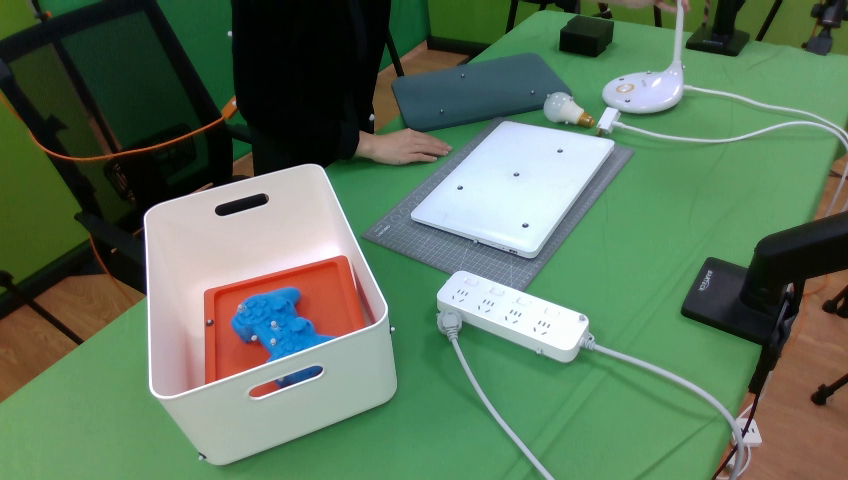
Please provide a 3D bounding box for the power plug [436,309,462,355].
[{"bbox_3d":[0.032,0.126,0.810,0.035,0.053,0.072,3,59,7],"label":"power plug"}]

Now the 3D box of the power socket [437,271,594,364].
[{"bbox_3d":[0.118,0.102,0.830,0.225,0.033,0.072,20,48,28],"label":"power socket"}]

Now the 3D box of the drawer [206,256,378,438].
[{"bbox_3d":[-0.177,0.130,0.787,0.195,0.073,0.210,-14,39,-9],"label":"drawer"}]

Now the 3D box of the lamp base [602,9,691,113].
[{"bbox_3d":[0.456,-0.370,1.217,0.179,0.181,0.159,-8,39,-1],"label":"lamp base"}]

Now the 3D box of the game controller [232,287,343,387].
[{"bbox_3d":[-0.167,0.109,0.734,0.097,0.052,0.154,-35,47,-21],"label":"game controller"}]

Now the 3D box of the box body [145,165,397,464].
[{"bbox_3d":[-0.205,0.080,0.802,0.255,0.161,0.361,-18,41,-13],"label":"box body"}]

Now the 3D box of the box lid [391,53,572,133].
[{"bbox_3d":[0.122,-0.339,1.366,0.372,0.015,0.261,-12,40,-5],"label":"box lid"}]

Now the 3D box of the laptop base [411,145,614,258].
[{"bbox_3d":[0.167,-0.102,1.075,0.234,0.023,0.355,17,45,30],"label":"laptop base"}]

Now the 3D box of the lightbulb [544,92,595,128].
[{"bbox_3d":[0.293,-0.257,1.216,0.107,0.059,0.059,30,51,16],"label":"lightbulb"}]

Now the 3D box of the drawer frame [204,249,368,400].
[{"bbox_3d":[-0.174,0.129,0.790,0.202,0.083,0.212,-16,45,-8],"label":"drawer frame"}]

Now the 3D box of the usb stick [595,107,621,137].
[{"bbox_3d":[0.354,-0.225,1.172,0.027,0.022,0.059,32,93,38],"label":"usb stick"}]

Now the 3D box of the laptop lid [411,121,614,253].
[{"bbox_3d":[0.164,-0.112,1.068,0.240,0.013,0.357,19,46,30],"label":"laptop lid"}]
